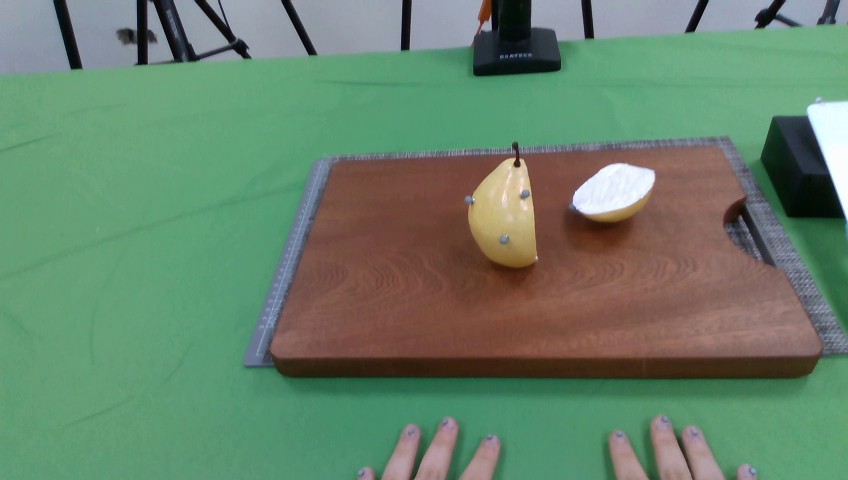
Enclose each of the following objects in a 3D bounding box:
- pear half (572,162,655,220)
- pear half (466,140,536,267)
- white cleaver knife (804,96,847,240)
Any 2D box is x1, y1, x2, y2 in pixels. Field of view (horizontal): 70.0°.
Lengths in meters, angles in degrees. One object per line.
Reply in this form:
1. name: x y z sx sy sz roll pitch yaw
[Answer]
1. pear half: 0.169 -0.039 0.536 0.070 0.031 0.087 -7 25 23
2. pear half: 0.061 -0.031 0.484 0.056 0.111 0.075 -8 37 0
3. white cleaver knife: 0.372 -0.024 0.493 0.066 0.022 0.284 1 56 12
